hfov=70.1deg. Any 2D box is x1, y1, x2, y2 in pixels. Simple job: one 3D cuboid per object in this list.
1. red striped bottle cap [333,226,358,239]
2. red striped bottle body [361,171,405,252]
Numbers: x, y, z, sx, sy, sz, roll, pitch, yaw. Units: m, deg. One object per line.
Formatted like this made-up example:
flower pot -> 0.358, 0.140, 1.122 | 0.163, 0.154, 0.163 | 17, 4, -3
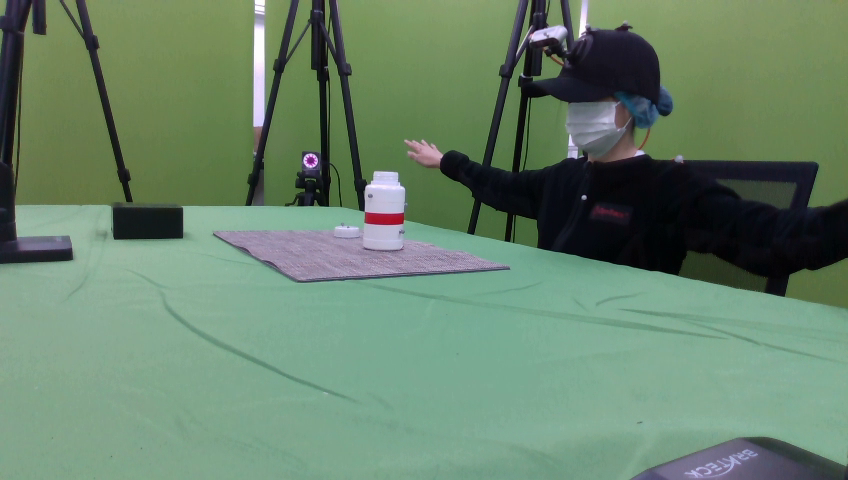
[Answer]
red striped bottle cap -> -0.139, -0.013, 1.069 | 0.044, 0.017, 0.044 | 0, 9, 0
red striped bottle body -> -0.062, -0.045, 0.933 | 0.063, 0.119, 0.063 | 4, 8, 0
